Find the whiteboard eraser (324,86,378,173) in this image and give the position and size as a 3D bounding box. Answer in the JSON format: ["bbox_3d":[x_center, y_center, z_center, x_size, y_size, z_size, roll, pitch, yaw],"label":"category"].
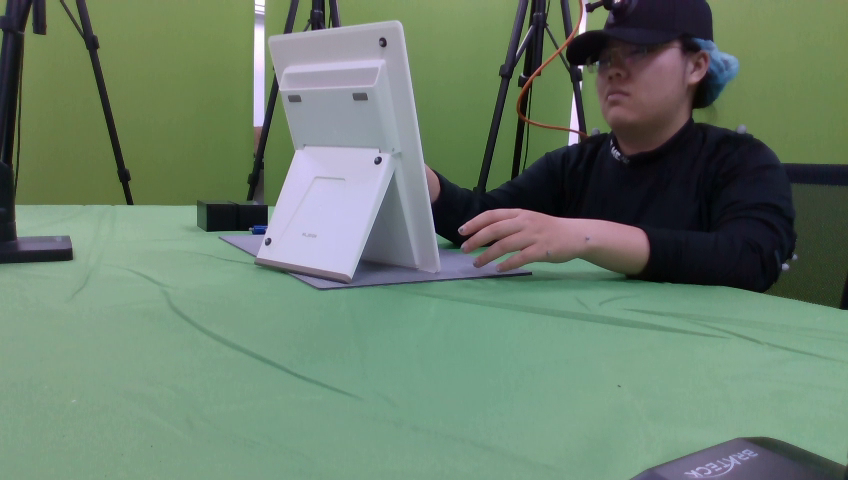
[{"bbox_3d":[-0.097,-0.144,0.796,0.055,0.113,0.042,6,27,28],"label":"whiteboard eraser"}]

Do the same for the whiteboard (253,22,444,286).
[{"bbox_3d":[-0.125,-0.081,0.715,0.216,0.305,0.144,9,29,36],"label":"whiteboard"}]

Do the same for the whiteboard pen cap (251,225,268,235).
[{"bbox_3d":[-0.288,-0.018,1.072,0.033,0.018,0.018,-3,10,-34],"label":"whiteboard pen cap"}]

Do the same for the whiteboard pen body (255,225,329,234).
[{"bbox_3d":[-0.239,-0.019,1.105,0.141,0.017,0.017,-2,9,-34],"label":"whiteboard pen body"}]
